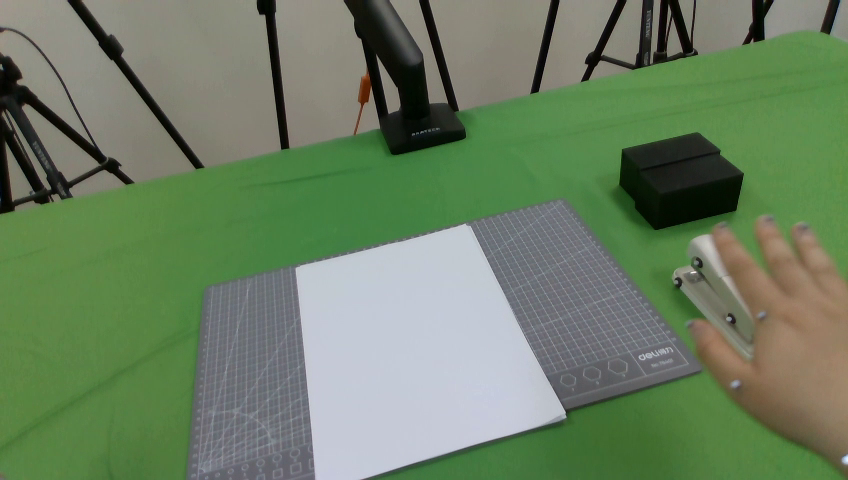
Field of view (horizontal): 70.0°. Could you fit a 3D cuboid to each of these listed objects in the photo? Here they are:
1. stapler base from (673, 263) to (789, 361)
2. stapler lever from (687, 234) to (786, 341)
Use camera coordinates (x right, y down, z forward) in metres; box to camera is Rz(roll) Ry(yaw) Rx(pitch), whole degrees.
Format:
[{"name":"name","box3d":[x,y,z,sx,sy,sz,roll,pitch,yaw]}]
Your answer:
[{"name":"stapler base","box3d":[0.287,0.058,0.575,0.041,0.025,0.129,-16,39,-6]},{"name":"stapler lever","box3d":[0.285,0.039,0.558,0.027,0.040,0.116,-16,39,-6]}]
